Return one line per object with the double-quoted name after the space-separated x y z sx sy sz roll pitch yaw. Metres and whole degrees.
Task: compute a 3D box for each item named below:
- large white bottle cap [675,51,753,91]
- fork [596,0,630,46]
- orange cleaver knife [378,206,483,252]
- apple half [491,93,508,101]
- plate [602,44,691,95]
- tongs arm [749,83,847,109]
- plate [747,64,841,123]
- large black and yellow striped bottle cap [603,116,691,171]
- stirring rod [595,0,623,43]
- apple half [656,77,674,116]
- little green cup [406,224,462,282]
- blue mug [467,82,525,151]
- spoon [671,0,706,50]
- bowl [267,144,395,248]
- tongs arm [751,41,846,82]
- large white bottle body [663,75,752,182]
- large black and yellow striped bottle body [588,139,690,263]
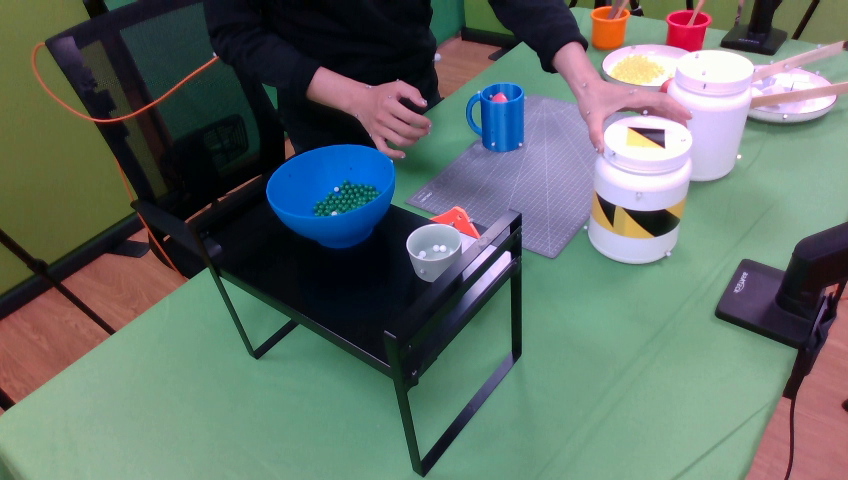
0.463 -0.271 0.967 0.115 0.018 0.114 -3 40 3 "large white bottle cap"
0.481 -0.556 1.452 0.028 0.019 0.207 40 103 40 "fork"
0.005 -0.010 0.943 0.210 0.077 0.012 -5 23 47 "orange cleaver knife"
0.141 -0.238 1.158 0.033 0.081 0.080 -13 40 -17 "apple half"
0.495 -0.367 1.317 0.209 0.038 0.208 -4 40 4 "plate"
0.734 -0.280 1.134 0.388 0.028 0.028 -9 47 -5 "tongs arm"
0.695 -0.283 1.189 0.207 0.039 0.206 -4 40 4 "plate"
0.306 -0.134 0.834 0.115 0.019 0.114 -5 41 5 "large black and yellow striped bottle cap"
0.460 -0.556 1.459 0.014 0.006 0.176 30 93 24 "stirring rod"
0.488 -0.281 1.192 0.053 0.075 0.081 24 54 37 "apple half"
0.012 0.015 0.668 0.061 0.039 0.061 -4 40 4 "little green cup"
0.138 -0.241 1.169 0.116 0.106 0.082 11 44 21 "blue mug"
0.629 -0.520 1.394 0.041 0.022 0.193 30 96 34 "spoon"
-0.104 -0.043 0.726 0.151 0.077 0.150 -4 40 4 "bowl"
0.708 -0.331 1.194 0.386 0.026 0.050 -18 45 -16 "tongs arm"
0.472 -0.207 1.022 0.130 0.185 0.130 -4 41 4 "large white bottle body"
0.314 -0.072 0.889 0.131 0.185 0.130 -4 41 4 "large black and yellow striped bottle body"
